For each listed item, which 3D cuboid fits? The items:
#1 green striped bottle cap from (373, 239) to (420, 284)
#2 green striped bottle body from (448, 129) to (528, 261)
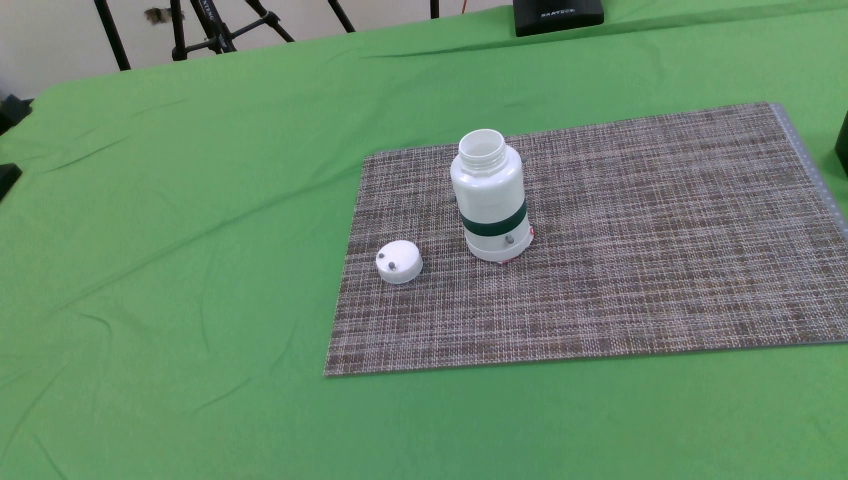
[{"bbox_3d":[-0.026,0.020,0.587,0.044,0.020,0.044,-6,47,6],"label":"green striped bottle cap"},{"bbox_3d":[0.058,-0.042,0.547,0.063,0.120,0.062,-8,46,9],"label":"green striped bottle body"}]
